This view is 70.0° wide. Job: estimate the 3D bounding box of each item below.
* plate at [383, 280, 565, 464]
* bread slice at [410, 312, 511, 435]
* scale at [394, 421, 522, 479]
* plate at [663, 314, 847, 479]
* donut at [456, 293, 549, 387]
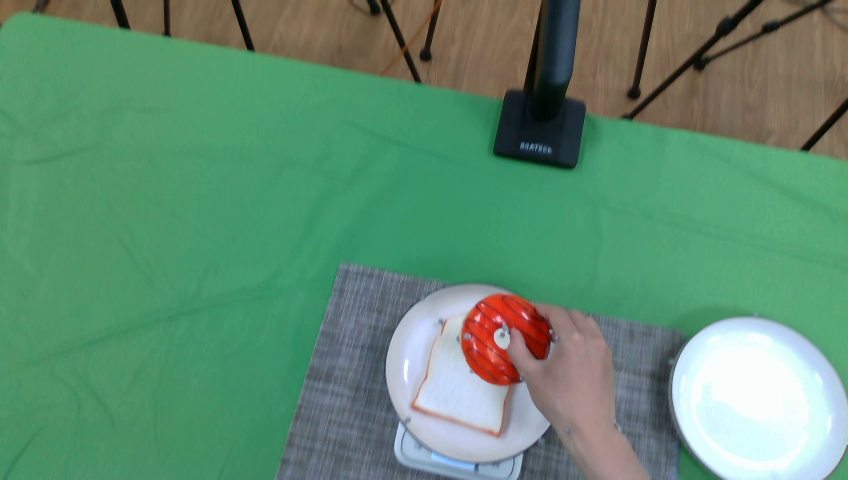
[{"bbox_3d":[0.057,0.150,0.703,0.209,0.038,0.207,0,69,0],"label":"plate"},{"bbox_3d":[0.051,0.148,0.706,0.105,0.019,0.131,16,70,5],"label":"bread slice"},{"bbox_3d":[0.054,0.179,0.727,0.148,0.032,0.199,12,69,5],"label":"scale"},{"bbox_3d":[0.387,0.192,0.720,0.208,0.039,0.206,0,68,1],"label":"plate"},{"bbox_3d":[0.082,0.105,0.639,0.099,0.048,0.098,1,78,-4],"label":"donut"}]
